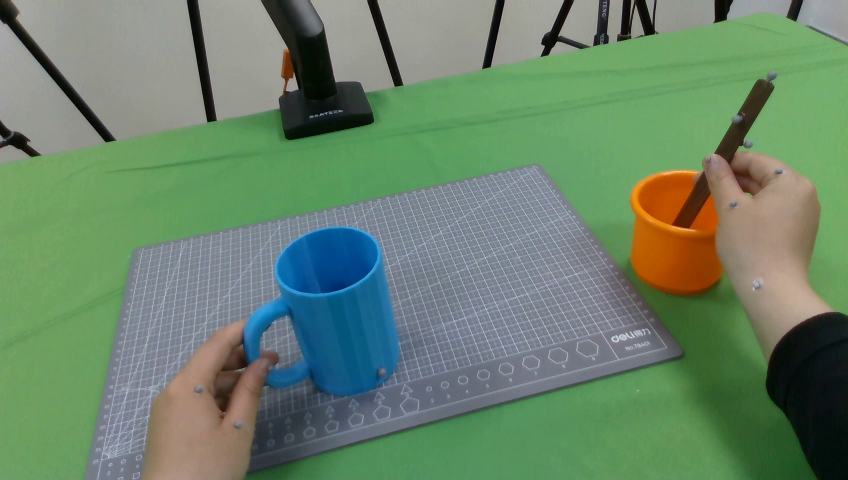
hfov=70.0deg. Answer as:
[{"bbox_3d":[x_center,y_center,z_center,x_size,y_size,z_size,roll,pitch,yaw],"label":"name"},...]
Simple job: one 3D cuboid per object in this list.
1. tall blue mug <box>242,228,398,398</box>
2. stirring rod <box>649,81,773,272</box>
[{"bbox_3d":[-0.071,0.065,0.449,0.077,0.109,0.107,14,43,23],"label":"tall blue mug"},{"bbox_3d":[0.224,-0.044,0.484,0.006,0.177,0.014,-15,47,-36],"label":"stirring rod"}]
